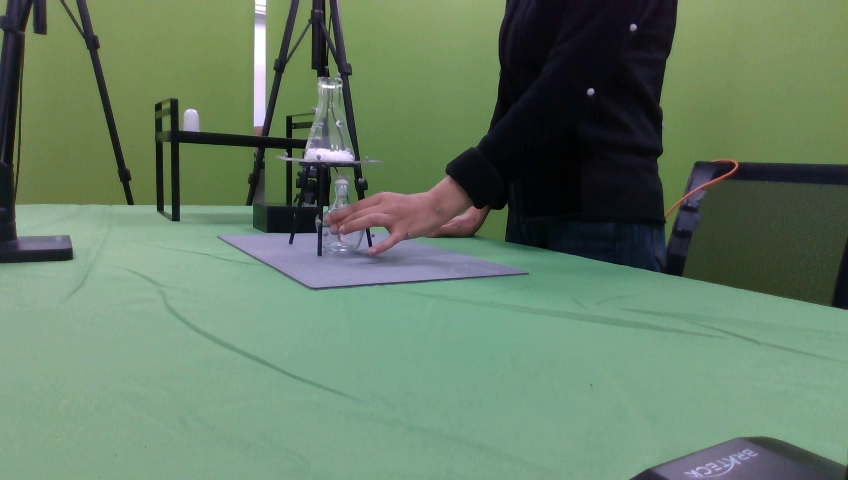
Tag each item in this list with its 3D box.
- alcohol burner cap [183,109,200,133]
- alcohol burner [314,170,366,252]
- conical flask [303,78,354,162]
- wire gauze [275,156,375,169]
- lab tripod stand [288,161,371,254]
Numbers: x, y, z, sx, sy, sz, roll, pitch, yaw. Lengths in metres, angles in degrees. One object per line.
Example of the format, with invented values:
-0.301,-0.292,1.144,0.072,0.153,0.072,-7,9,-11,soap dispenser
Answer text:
-0.472,-0.241,1.229,0.034,0.048,0.034,3,8,0,alcohol burner cap
-0.123,-0.043,0.890,0.078,0.119,0.078,2,6,0,alcohol burner
-0.140,-0.175,0.892,0.075,0.122,0.075,1,7,0,conical flask
-0.142,-0.116,0.899,0.122,0.011,0.124,-1,5,-36,wire gauze
-0.148,-0.052,0.908,0.148,0.131,0.148,1,8,0,lab tripod stand
